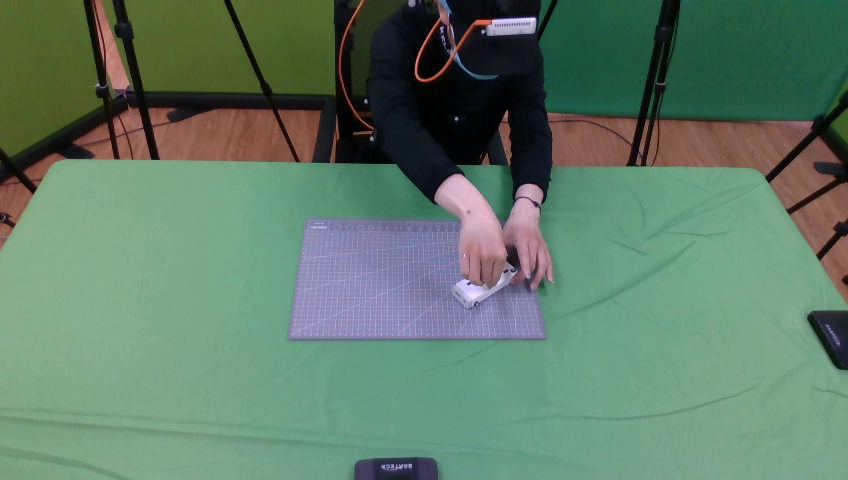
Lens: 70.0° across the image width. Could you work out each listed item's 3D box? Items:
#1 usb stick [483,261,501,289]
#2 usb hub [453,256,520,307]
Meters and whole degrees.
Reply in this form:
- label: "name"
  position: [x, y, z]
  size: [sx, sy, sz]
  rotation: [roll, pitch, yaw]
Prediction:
- label: "usb stick"
  position: [0.121, 0.069, 1.090]
  size: [0.021, 0.059, 0.027]
  rotation: [-30, 54, -28]
- label: "usb hub"
  position: [0.117, 0.076, 1.122]
  size: [0.125, 0.025, 0.049]
  rotation: [-28, 54, -26]
